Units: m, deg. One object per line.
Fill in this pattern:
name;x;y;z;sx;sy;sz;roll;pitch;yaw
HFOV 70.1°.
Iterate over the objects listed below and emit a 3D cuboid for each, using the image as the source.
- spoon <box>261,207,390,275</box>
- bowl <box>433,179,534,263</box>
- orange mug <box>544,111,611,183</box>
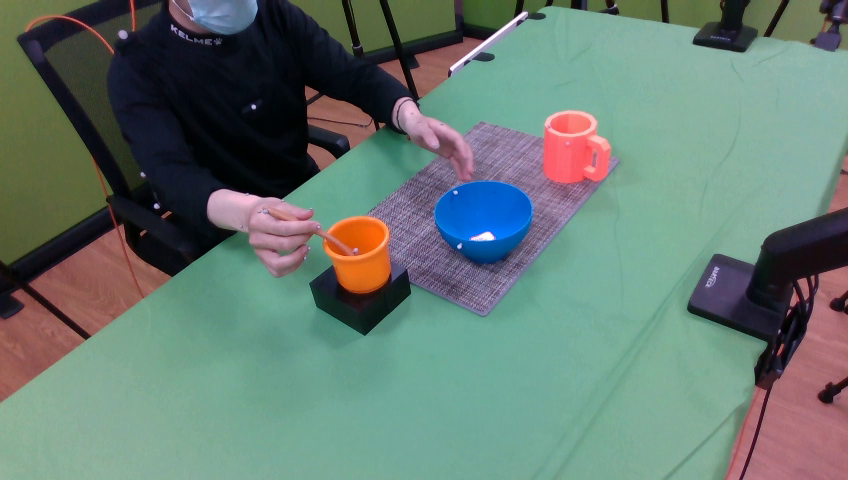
spoon;-0.128;0.000;0.810;0.021;0.195;0.041;-49;27;17
bowl;0.093;-0.018;0.928;0.151;0.077;0.150;-4;41;4
orange mug;0.266;-0.157;1.049;0.084;0.101;0.125;-32;42;-26
